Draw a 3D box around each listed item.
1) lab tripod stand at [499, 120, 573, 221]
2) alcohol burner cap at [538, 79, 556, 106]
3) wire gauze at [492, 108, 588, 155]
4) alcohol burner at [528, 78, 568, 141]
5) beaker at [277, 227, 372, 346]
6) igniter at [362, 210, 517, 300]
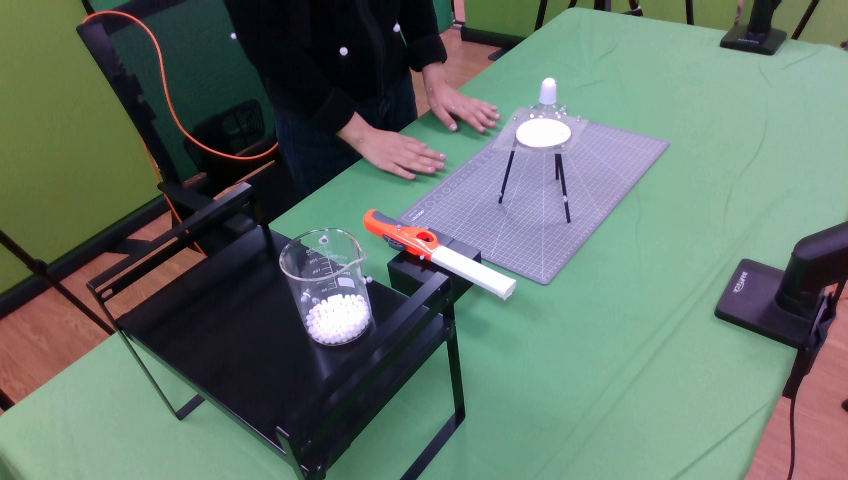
[{"bbox_3d":[0.198,-0.117,0.992,0.148,0.132,0.147,-3,40,3],"label":"lab tripod stand"},{"bbox_3d":[0.234,-0.281,1.141,0.034,0.048,0.033,-1,42,2],"label":"alcohol burner cap"},{"bbox_3d":[0.185,-0.170,0.953,0.121,0.011,0.125,13,44,22],"label":"wire gauze"},{"bbox_3d":[0.238,-0.253,1.163,0.078,0.119,0.077,-6,40,6],"label":"alcohol burner"},{"bbox_3d":[-0.090,0.048,0.593,0.084,0.101,0.073,-3,41,5],"label":"beaker"},{"bbox_3d":[0.011,0.015,0.880,0.274,0.025,0.057,26,48,30],"label":"igniter"}]
